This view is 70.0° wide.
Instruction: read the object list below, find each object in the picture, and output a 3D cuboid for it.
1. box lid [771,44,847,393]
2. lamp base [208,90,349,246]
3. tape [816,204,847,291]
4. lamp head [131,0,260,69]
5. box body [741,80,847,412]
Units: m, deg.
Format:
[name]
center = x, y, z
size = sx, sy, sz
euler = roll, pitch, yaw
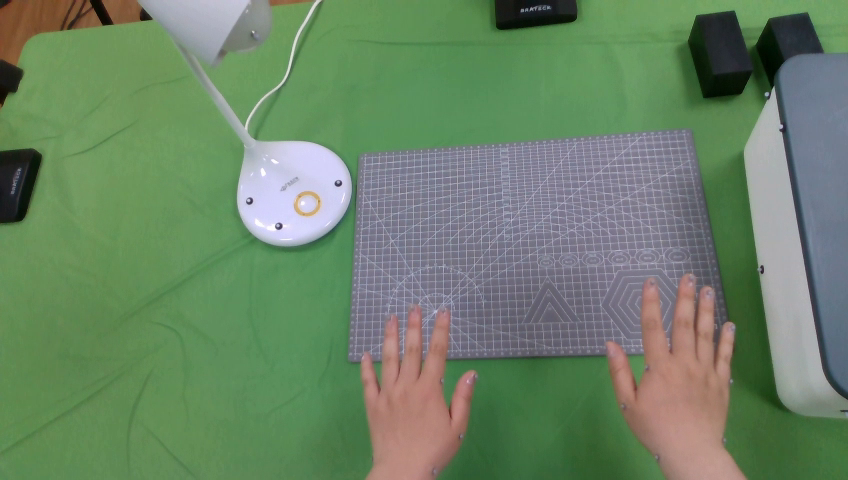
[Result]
[box lid]
center = 0.486, -0.037, 0.563
size = 0.263, 0.015, 0.369
euler = 0, 68, 9
[lamp base]
center = -0.203, -0.103, 0.770
size = 0.178, 0.182, 0.160
euler = 35, 76, 23
[tape]
center = 0.510, 0.005, 0.677
size = 0.117, 0.053, 0.116
euler = -3, 67, 7
[lamp head]
center = -0.196, -0.218, 0.494
size = 0.123, 0.112, 0.112
euler = 31, 72, -15
[box body]
center = 0.497, -0.005, 0.630
size = 0.254, 0.162, 0.361
euler = 0, 67, 9
